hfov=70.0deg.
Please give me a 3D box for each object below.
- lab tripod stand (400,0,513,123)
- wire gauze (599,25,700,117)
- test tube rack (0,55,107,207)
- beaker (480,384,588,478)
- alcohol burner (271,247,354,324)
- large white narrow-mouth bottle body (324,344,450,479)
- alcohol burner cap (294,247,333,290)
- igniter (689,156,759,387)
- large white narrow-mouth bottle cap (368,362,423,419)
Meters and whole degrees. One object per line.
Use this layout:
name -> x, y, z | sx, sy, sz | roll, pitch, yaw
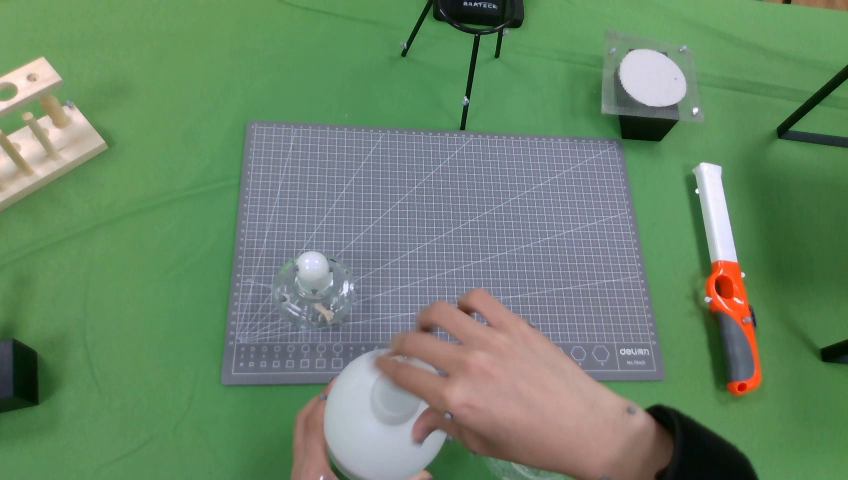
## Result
lab tripod stand -> 0.045, -0.232, 0.698 | 0.149, 0.132, 0.147 | 4, 67, -9
wire gauze -> 0.271, -0.204, 0.734 | 0.121, 0.011, 0.124 | 8, 66, -5
test tube rack -> -0.446, -0.072, 0.580 | 0.242, 0.085, 0.066 | -39, 77, -21
beaker -> 0.091, 0.177, 0.550 | 0.084, 0.101, 0.073 | 7, 65, -4
alcohol burner -> -0.104, 0.037, 0.568 | 0.078, 0.119, 0.077 | 4, 65, -9
large white narrow-mouth bottle body -> -0.031, 0.139, 0.495 | 0.102, 0.195, 0.101 | 3, 66, -6
alcohol burner cap -> -0.099, 0.024, 0.535 | 0.034, 0.048, 0.033 | 2, 71, -4
igniter -> 0.338, 0.029, 0.688 | 0.057, 0.025, 0.274 | 8, 67, -16
large white narrow-mouth bottle cap -> -0.020, 0.102, 0.415 | 0.038, 0.024, 0.037 | 3, 66, -7
